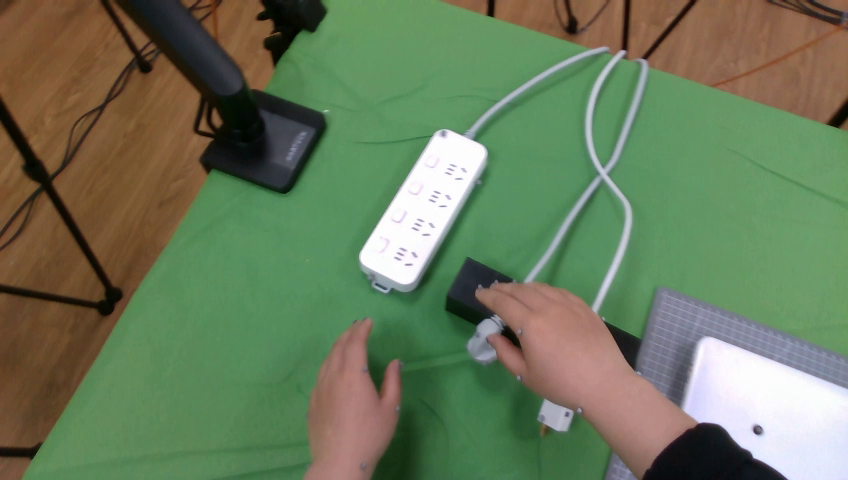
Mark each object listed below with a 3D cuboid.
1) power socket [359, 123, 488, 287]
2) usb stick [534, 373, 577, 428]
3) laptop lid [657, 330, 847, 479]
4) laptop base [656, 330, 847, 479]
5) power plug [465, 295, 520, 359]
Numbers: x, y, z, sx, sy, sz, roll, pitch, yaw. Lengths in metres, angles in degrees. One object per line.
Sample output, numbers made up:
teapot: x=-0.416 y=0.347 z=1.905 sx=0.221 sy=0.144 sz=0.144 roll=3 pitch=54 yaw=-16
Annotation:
power socket: x=0.002 y=-0.045 z=0.715 sx=0.072 sy=0.033 sz=0.226 roll=28 pitch=68 yaw=9
usb stick: x=0.131 y=0.166 z=0.613 sx=0.027 sy=0.022 sz=0.059 roll=26 pitch=96 yaw=41
laptop lid: x=0.412 y=0.257 z=0.592 sx=0.356 sy=0.013 sz=0.240 roll=23 pitch=70 yaw=8
laptop base: x=0.414 y=0.259 z=0.604 sx=0.353 sy=0.023 sz=0.234 roll=21 pitch=71 yaw=7
power plug: x=0.077 y=0.097 z=0.629 sx=0.072 sy=0.053 sz=0.035 roll=-26 pitch=49 yaw=-3
